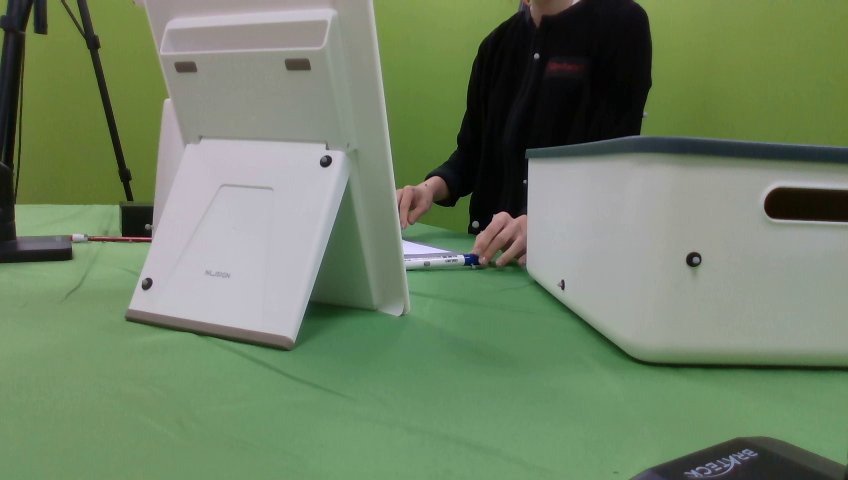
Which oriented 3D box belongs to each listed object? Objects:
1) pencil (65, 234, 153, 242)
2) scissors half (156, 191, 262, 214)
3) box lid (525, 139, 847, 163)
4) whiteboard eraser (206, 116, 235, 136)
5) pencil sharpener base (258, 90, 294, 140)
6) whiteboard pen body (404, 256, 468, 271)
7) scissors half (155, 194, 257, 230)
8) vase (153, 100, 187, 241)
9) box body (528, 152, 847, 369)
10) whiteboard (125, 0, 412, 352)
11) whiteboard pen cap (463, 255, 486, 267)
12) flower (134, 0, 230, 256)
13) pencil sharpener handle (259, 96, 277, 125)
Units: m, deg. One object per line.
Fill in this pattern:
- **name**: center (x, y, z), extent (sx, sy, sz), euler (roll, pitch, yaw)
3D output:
- **pencil**: center (-0.429, -0.001, 0.911), extent (0.195, 0.012, 0.012), euler (1, 8, -19)
- **scissors half**: center (-0.371, -0.069, 1.051), extent (0.176, 0.040, 0.013), euler (2, 26, -24)
- **box lid**: center (0.261, -0.078, 0.580), extent (0.264, 0.015, 0.371), euler (2, 7, -4)
- **whiteboard eraser**: center (-0.449, -0.251, 1.335), extent (0.056, 0.042, 0.112), euler (1, 7, -22)
- **pencil sharpener base**: center (-0.341, -0.285, 1.388), extent (0.062, 0.107, 0.076), euler (-3, 9, -36)
- **whiteboard pen body**: center (0.012, 0.030, 0.792), extent (0.141, 0.017, 0.017), euler (-3, 9, -24)
- **scissors half**: center (-0.378, -0.052, 1.059), extent (0.176, 0.040, 0.012), euler (20, 23, -31)
- **vase**: center (-0.278, -0.066, 0.736), extent (0.098, 0.200, 0.098), euler (2, 9, 0)
- **box body**: center (0.258, -0.005, 0.591), extent (0.254, 0.160, 0.363), euler (2, 7, -4)
- **whiteboard**: center (-0.151, -0.049, 0.472), extent (0.216, 0.305, 0.144), euler (6, 27, 24)
- **whiteboard pen cap**: center (0.066, 0.028, 0.818), extent (0.033, 0.018, 0.018), euler (0, 8, -21)
- **flower**: center (-0.282, -0.146, 0.713), extent (0.038, 0.362, 0.044), euler (-23, 23, -31)
- **pencil sharpener handle**: center (-0.373, -0.304, 1.425), extent (0.036, 0.067, 0.030), euler (13, -1, -37)
